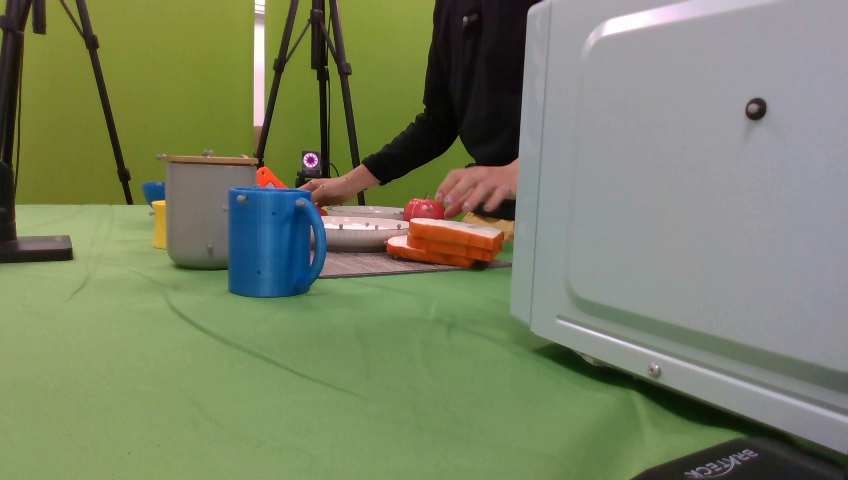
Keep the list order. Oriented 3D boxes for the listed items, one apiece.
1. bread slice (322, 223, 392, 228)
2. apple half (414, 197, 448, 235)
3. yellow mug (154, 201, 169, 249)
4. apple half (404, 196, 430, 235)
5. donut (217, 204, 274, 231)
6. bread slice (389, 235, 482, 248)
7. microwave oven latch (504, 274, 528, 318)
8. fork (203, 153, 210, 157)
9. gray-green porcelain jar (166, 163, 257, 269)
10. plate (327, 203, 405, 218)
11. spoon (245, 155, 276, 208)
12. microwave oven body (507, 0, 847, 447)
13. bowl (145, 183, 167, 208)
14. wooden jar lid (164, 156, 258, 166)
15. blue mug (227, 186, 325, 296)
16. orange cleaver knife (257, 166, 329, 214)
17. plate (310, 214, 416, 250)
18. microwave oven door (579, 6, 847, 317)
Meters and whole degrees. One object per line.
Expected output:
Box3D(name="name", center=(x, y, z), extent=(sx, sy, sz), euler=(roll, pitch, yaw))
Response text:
Box3D(name="bread slice", center=(-0.116, -0.013, 0.975), extent=(0.135, 0.018, 0.106), euler=(-6, 11, -42))
Box3D(name="apple half", center=(0.020, -0.044, 1.121), extent=(0.082, 0.081, 0.032), euler=(-4, 5, -39))
Box3D(name="yellow mug", center=(-0.337, -0.022, 0.899), extent=(0.130, 0.064, 0.100), euler=(8, 9, 34))
Box3D(name="apple half", center=(-0.006, -0.047, 1.150), extent=(0.081, 0.074, 0.053), euler=(-7, 5, -40))
Box3D(name="donut", center=(-0.318, -0.038, 1.080), extent=(0.099, 0.048, 0.099), euler=(3, 7, 0))
Box3D(name="bread slice", center=(0.016, 0.002, 0.873), extent=(0.131, 0.019, 0.105), euler=(1, 0, 2))
Box3D(name="microwave oven latch", center=(0.100, 0.041, 0.471), extent=(0.079, 0.029, 0.030), euler=(-1, 8, -28))
Box3D(name="fork", center=(-0.480, -0.135, 1.411), extent=(0.028, 0.018, 0.207), euler=(1, -34, 0))
Box3D(name="gray-green porcelain jar", center=(-0.263, -0.032, 0.754), extent=(0.106, 0.126, 0.106), euler=(2, 7, 0))
Box3D(name="plate", center=(-0.102, -0.054, 1.299), extent=(0.209, 0.038, 0.209), euler=(2, 8, 0))
Box3D(name="spoon", center=(-0.421, -0.150, 1.540), extent=(0.042, 0.021, 0.193), euler=(-5, 55, -37))
Box3D(name="microwave oven body", center=(0.331, -0.042, 0.425), extent=(0.444, 0.260, 0.324), euler=(-2, 8, -31))
Box3D(name="bowl", center=(-0.459, -0.068, 1.175), extent=(0.151, 0.077, 0.151), euler=(2, 7, 0))
Box3D(name="wooden jar lid", center=(-0.261, -0.093, 0.746), extent=(0.108, 0.020, 0.108), euler=(1, 9, 0))
Box3D(name="blue mug", center=(-0.147, 0.000, 0.618), extent=(0.116, 0.106, 0.083), euler=(7, 9, 32))
Box3D(name="orange cleaver knife", center=(-0.295, -0.086, 1.333), extent=(0.012, 0.077, 0.212), euler=(4, -22, 47))
Box3D(name="plate", center=(-0.117, -0.014, 0.967), extent=(0.208, 0.039, 0.207), euler=(2, 8, 0))
Box3D(name="microwave oven door", center=(0.294, -0.067, 0.570), extent=(0.358, 0.243, 0.039), euler=(-3, 9, -31))
